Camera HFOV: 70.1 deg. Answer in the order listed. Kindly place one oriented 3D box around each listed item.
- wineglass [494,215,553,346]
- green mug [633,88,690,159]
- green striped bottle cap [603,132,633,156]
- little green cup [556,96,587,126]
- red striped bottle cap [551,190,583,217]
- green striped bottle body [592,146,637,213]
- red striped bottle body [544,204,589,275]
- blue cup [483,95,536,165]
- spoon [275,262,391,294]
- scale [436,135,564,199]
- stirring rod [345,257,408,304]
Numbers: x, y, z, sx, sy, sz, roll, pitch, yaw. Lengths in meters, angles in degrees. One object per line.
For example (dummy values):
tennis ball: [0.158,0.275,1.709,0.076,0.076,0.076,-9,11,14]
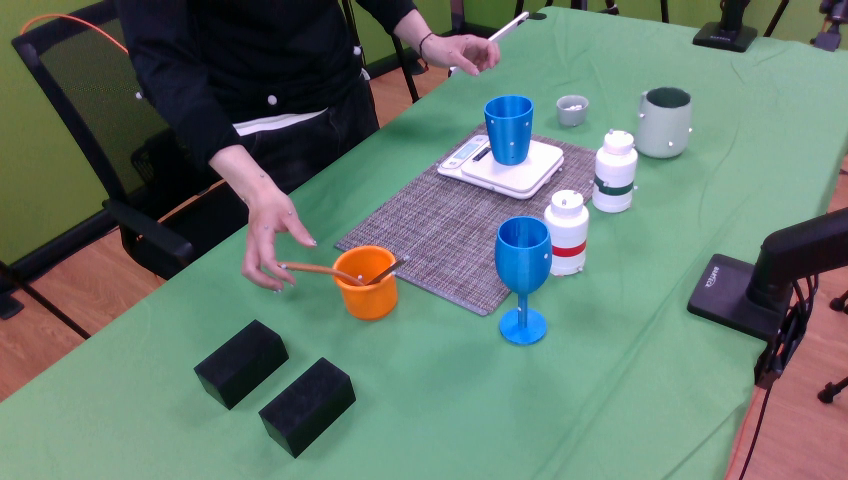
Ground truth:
wineglass: [0.127,0.055,0.770,0.074,0.173,0.073,-4,40,4]
green mug: [0.423,-0.217,1.099,0.093,0.105,0.124,-16,41,-10]
green striped bottle cap: [0.302,-0.149,0.939,0.044,0.020,0.044,-3,40,3]
little green cup: [0.295,-0.258,1.214,0.061,0.039,0.061,-4,42,4]
red striped bottle cap: [0.200,-0.052,0.843,0.044,0.018,0.044,-2,42,3]
green striped bottle body: [0.307,-0.108,0.976,0.063,0.120,0.063,-4,41,4]
red striped bottle body: [0.206,-0.011,0.877,0.063,0.120,0.062,-5,41,4]
blue cup: [0.148,-0.188,1.053,0.092,0.100,0.092,-6,39,5]
spoon: [-0.120,0.050,0.830,0.041,0.195,0.021,30,96,45]
scale: [0.137,-0.141,1.101,0.199,0.032,0.149,22,48,30]
stirring rod: [-0.067,0.057,0.814,0.014,0.175,0.006,-25,82,-38]
